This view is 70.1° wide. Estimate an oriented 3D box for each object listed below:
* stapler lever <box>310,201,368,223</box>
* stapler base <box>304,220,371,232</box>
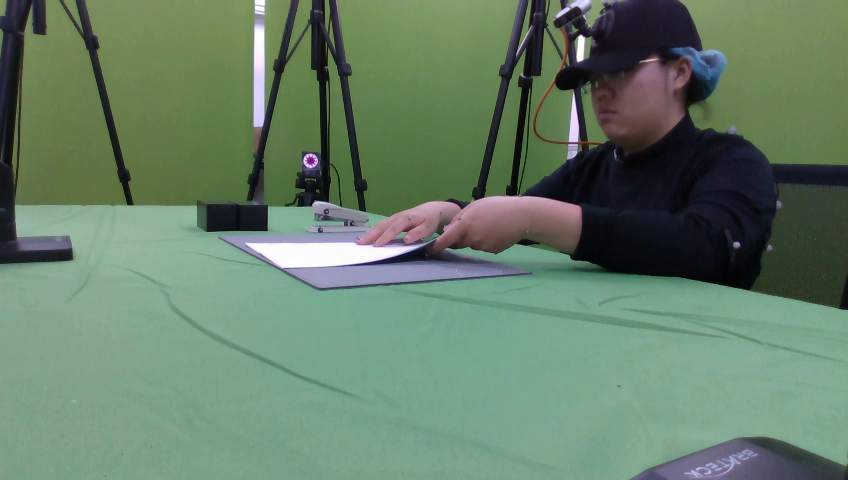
[{"bbox_3d":[-0.166,-0.054,1.185,0.119,0.040,0.026,0,9,-33],"label":"stapler lever"},{"bbox_3d":[-0.169,-0.029,1.186,0.131,0.024,0.041,0,9,-33],"label":"stapler base"}]
